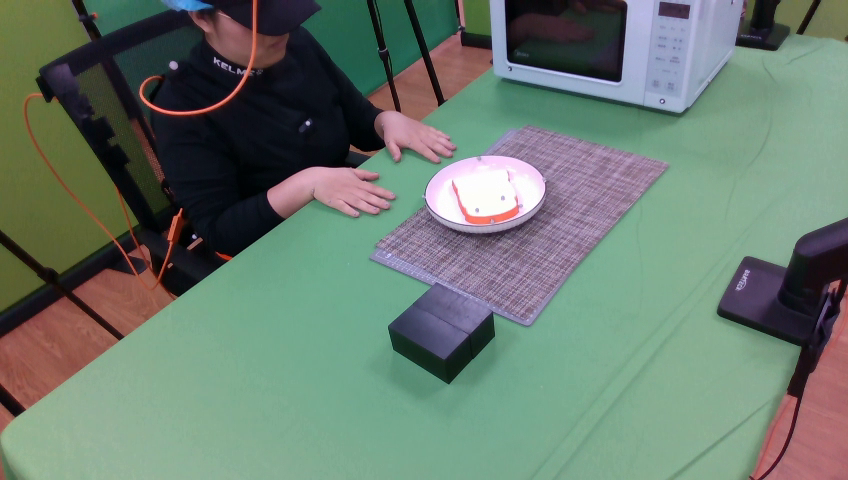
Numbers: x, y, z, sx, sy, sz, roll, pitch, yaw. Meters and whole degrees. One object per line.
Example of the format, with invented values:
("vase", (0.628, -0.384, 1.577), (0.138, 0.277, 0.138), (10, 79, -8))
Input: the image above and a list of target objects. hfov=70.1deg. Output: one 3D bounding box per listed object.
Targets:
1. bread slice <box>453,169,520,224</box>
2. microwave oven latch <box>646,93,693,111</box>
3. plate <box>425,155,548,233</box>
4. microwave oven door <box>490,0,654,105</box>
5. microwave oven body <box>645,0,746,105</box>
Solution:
("bread slice", (0.112, -0.076, 1.040), (0.105, 0.019, 0.130), (-11, 40, -1))
("microwave oven latch", (0.477, -0.273, 1.177), (0.078, 0.029, 0.030), (22, 50, 33))
("plate", (0.108, -0.076, 1.038), (0.209, 0.038, 0.208), (-5, 39, 5))
("microwave oven door", (0.293, -0.420, 1.229), (0.353, 0.245, 0.039), (22, 49, 32))
("microwave oven body", (0.417, -0.486, 1.290), (0.438, 0.261, 0.327), (22, 50, 33))
